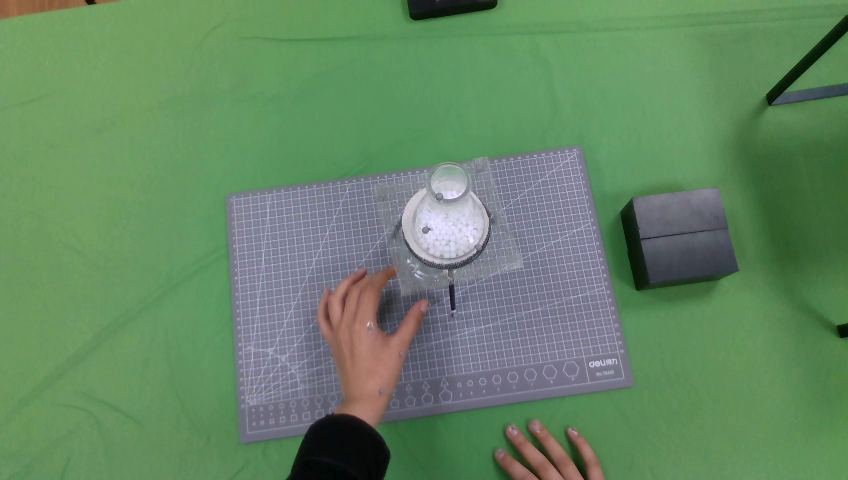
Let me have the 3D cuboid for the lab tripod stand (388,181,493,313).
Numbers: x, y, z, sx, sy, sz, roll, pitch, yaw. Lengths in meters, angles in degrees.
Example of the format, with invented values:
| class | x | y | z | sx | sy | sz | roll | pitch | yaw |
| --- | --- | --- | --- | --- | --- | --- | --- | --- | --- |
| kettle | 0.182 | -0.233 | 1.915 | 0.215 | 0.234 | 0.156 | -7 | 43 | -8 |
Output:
| class | x | y | z | sx | sy | sz | roll | pitch | yaw |
| --- | --- | --- | --- | --- | --- | --- | --- | --- | --- |
| lab tripod stand | 0.024 | -0.004 | 0.668 | 0.148 | 0.132 | 0.147 | 0 | 74 | 1 |

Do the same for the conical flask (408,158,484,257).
| class | x | y | z | sx | sy | sz | roll | pitch | yaw |
| --- | --- | --- | --- | --- | --- | --- | --- | --- | --- |
| conical flask | 0.020 | -0.034 | 0.546 | 0.075 | 0.122 | 0.075 | 0 | 74 | 1 |

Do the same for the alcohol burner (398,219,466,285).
| class | x | y | z | sx | sy | sz | roll | pitch | yaw |
| --- | --- | --- | --- | --- | --- | --- | --- | --- | --- |
| alcohol burner | 0.009 | 0.009 | 0.675 | 0.078 | 0.119 | 0.077 | 0 | 75 | 0 |

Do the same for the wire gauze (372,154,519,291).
| class | x | y | z | sx | sy | sz | roll | pitch | yaw |
| --- | --- | --- | --- | --- | --- | --- | --- | --- | --- |
| wire gauze | 0.021 | -0.018 | 0.604 | 0.125 | 0.011 | 0.121 | -13 | 78 | -5 |
